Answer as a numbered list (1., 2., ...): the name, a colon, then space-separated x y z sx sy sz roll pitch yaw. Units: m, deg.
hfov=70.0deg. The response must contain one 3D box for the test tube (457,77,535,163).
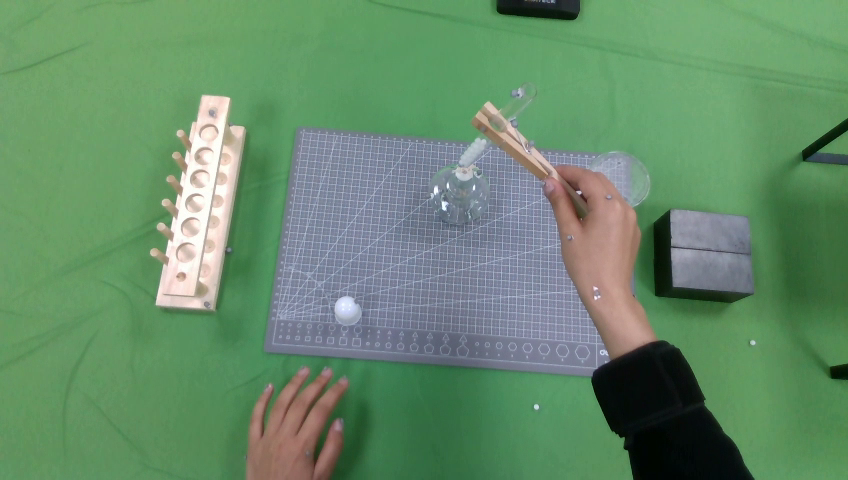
1. test tube: 0.063 -0.107 0.569 0.017 0.150 0.017 6 72 -17

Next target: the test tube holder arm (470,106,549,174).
1. test tube holder arm: 0.081 -0.092 0.562 0.088 0.015 0.010 36 66 -6

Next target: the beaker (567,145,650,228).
1. beaker: 0.220 -0.061 0.749 0.084 0.101 0.073 3 72 -1

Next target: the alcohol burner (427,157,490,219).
1. alcohol burner: 0.043 -0.070 0.731 0.078 0.119 0.077 1 74 -2

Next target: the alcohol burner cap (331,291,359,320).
1. alcohol burner cap: -0.094 0.075 0.716 0.034 0.048 0.033 2 74 -5

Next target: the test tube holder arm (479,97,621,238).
1. test tube holder arm: 0.118 -0.067 0.567 0.178 0.015 0.013 43 67 -3

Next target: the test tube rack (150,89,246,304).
1. test tube rack: -0.273 -0.052 0.721 0.067 0.085 0.241 5 73 -2
